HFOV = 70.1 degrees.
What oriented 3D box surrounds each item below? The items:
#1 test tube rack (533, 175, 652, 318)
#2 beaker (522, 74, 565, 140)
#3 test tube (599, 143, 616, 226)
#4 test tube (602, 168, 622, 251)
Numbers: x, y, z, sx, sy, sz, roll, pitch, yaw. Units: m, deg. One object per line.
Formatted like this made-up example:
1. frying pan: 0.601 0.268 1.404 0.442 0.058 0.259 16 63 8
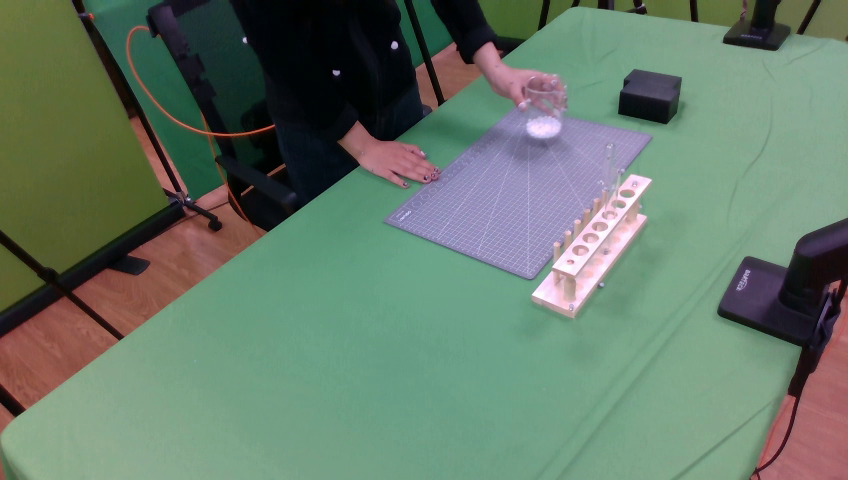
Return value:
1. test tube rack: 0.250 -0.001 0.889 0.066 0.085 0.243 23 49 33
2. beaker: 0.223 -0.242 1.115 0.083 0.101 0.074 29 53 35
3. test tube: 0.273 -0.081 0.909 0.017 0.151 0.017 -4 42 4
4. test tube: 0.264 -0.039 0.854 0.017 0.151 0.017 -5 44 6
